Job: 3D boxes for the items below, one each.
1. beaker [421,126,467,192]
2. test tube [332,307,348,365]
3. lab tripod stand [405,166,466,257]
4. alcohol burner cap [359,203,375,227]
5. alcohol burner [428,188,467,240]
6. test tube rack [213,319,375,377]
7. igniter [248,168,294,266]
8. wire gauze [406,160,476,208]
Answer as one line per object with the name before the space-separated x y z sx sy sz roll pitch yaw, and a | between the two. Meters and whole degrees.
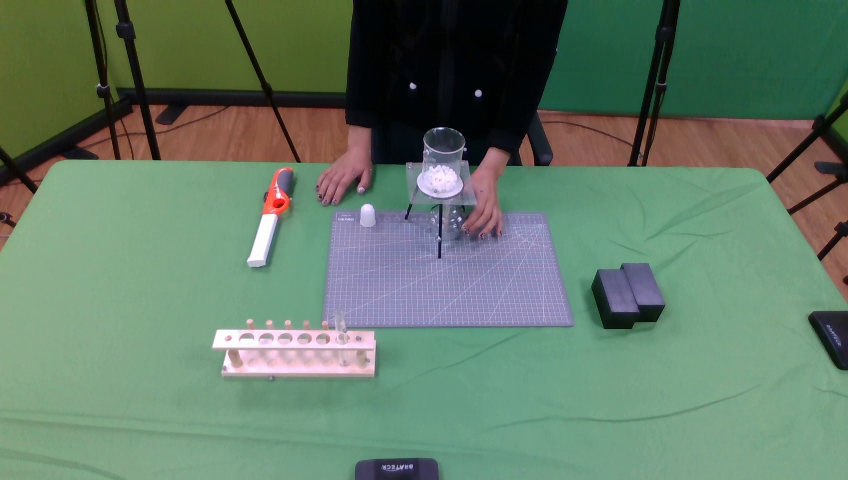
beaker | 0.031 -0.145 1.100 0.074 0.101 0.083 -16 50 -20
test tube | -0.128 0.151 0.931 0.017 0.151 0.017 1 50 -2
lab tripod stand | 0.030 -0.063 1.180 0.148 0.132 0.147 3 47 -3
alcohol burner cap | -0.115 -0.053 1.224 0.034 0.048 0.033 3 47 -3
alcohol burner | 0.047 -0.057 1.189 0.078 0.120 0.077 1 48 -1
test tube rack | -0.202 0.170 0.977 0.242 0.085 0.066 1 46 -3
igniter | -0.307 -0.055 1.226 0.057 0.025 0.275 -3 46 6
wire gauze | 0.030 -0.107 1.130 0.125 0.011 0.120 1 48 -7
